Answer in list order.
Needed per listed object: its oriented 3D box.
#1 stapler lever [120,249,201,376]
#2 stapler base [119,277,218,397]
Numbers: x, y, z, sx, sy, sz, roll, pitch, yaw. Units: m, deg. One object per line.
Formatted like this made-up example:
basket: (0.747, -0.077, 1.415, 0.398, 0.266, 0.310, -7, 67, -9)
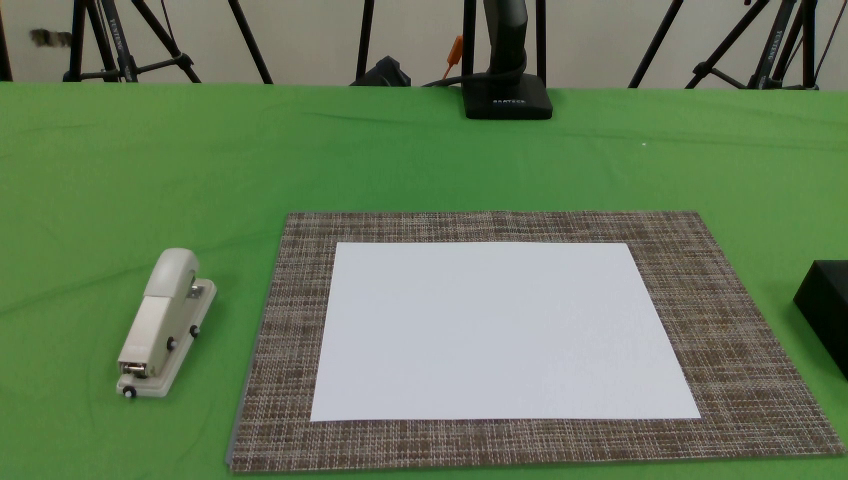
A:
stapler lever: (-0.214, 0.055, 0.497, 0.027, 0.040, 0.117, 2, 41, 4)
stapler base: (-0.215, 0.073, 0.515, 0.041, 0.024, 0.129, 2, 41, 4)
